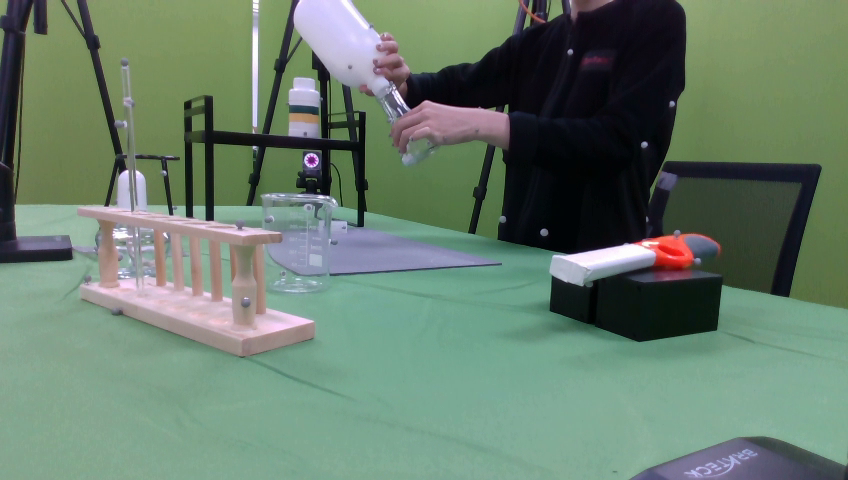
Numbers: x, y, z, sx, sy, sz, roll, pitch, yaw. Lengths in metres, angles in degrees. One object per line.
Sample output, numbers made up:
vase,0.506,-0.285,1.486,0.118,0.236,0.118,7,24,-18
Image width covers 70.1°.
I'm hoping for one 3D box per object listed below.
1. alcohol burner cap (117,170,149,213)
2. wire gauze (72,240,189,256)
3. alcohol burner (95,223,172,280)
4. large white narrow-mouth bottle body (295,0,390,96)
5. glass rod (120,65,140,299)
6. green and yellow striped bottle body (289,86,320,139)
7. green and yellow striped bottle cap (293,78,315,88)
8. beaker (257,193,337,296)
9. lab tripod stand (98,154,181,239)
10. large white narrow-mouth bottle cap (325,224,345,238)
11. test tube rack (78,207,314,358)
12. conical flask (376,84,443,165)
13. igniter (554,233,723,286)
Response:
alcohol burner cap,-0.320,-0.052,0.661,0.034,0.048,0.034,-3,0,0
wire gauze,-0.399,0.013,0.820,0.126,0.011,0.121,-3,8,-37
alcohol burner,-0.320,-0.017,0.667,0.078,0.119,0.078,0,7,0
large white narrow-mouth bottle body,-0.119,-0.311,0.979,0.102,0.194,0.102,-34,-15,-10
glass rod,-0.249,-0.047,0.513,0.008,0.199,0.008,-1,4,0
green and yellow striped bottle body,-0.250,-0.272,1.261,0.063,0.119,0.063,3,7,0
green and yellow striped bottle cap,-0.248,-0.324,1.256,0.045,0.020,0.045,4,9,0
beaker,-0.130,0.003,0.628,0.084,0.100,0.074,5,8,15
lab tripod stand,-0.427,-0.066,0.942,0.148,0.131,0.148,1,6,0
large white narrow-mouth bottle cap,-0.160,-0.017,1.090,0.038,0.024,0.037,3,9,0
test tube rack,-0.196,0.024,0.500,0.241,0.085,0.067,8,8,37
conical flask,-0.029,-0.186,0.959,0.075,0.122,0.075,-32,0,1
igniter,0.214,0.015,0.570,0.278,0.025,0.057,-5,22,-44
